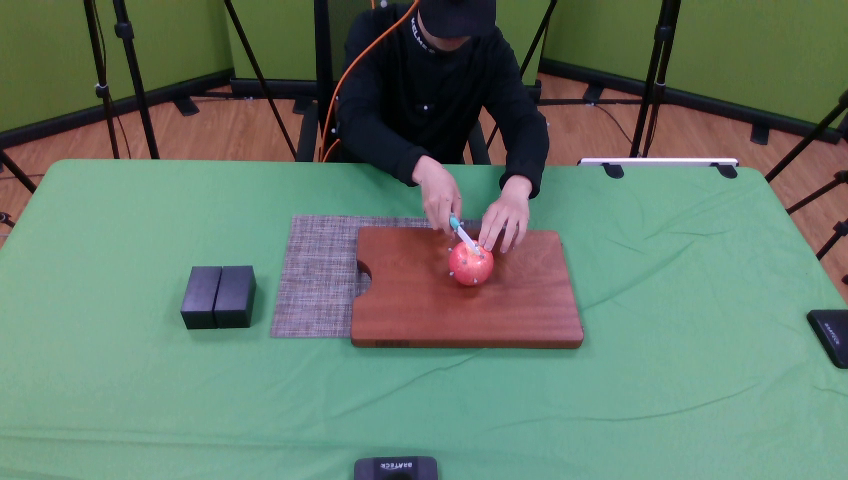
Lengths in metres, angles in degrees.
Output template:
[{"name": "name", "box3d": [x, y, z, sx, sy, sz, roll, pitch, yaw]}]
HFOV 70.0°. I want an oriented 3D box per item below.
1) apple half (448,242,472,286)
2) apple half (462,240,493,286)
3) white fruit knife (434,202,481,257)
[{"name": "apple half", "box3d": [0.059, 0.046, 1.085, 0.033, 0.081, 0.080, -4, 46, -14]}, {"name": "apple half", "box3d": [0.096, 0.042, 1.093, 0.053, 0.075, 0.080, -4, 42, -14]}, {"name": "white fruit knife", "box3d": [0.060, -0.022, 1.101, 0.016, 0.027, 0.206, -14, 32, -16]}]
